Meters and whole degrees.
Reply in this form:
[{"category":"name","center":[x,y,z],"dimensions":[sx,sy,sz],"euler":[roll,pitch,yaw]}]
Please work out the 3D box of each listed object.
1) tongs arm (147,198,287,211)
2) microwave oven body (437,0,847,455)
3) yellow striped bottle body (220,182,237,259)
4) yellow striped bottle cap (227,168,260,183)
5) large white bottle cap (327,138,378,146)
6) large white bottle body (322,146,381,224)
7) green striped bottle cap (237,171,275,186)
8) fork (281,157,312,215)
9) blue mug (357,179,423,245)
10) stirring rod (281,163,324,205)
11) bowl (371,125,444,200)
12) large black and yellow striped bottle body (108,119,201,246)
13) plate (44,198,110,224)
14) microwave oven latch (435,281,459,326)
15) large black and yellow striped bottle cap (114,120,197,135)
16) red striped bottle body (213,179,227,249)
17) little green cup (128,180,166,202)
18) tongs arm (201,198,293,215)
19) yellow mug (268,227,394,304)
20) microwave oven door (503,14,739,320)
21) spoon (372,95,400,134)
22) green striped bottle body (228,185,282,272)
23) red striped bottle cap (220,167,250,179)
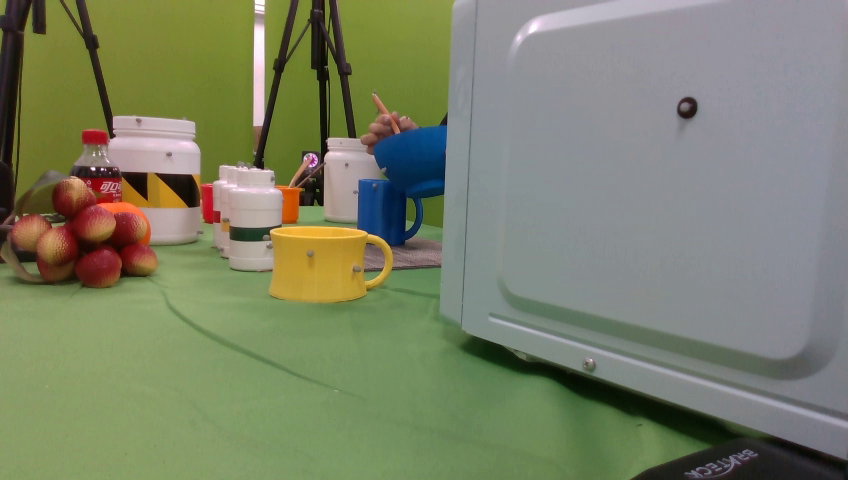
[{"category":"tongs arm","center":[-0.504,-0.091,1.513],"dimensions":[0.028,0.028,0.389],"euler":[0,4,37]},{"category":"microwave oven body","center":[0.279,-0.040,0.464],"dimensions":[0.444,0.260,0.324],"euler":[-3,9,-41]},{"category":"yellow striped bottle body","center":[-0.246,-0.036,0.825],"dimensions":[0.063,0.120,0.063],"euler":[3,8,0]},{"category":"yellow striped bottle cap","center":[-0.243,-0.087,0.818],"dimensions":[0.044,0.018,0.044],"euler":[4,6,0]},{"category":"large white bottle cap","center":[-0.160,-0.218,1.357],"dimensions":[0.115,0.018,0.115],"euler":[2,8,0]},{"category":"large white bottle body","center":[-0.163,-0.135,1.368],"dimensions":[0.131,0.184,0.130],"euler":[2,7,0]},{"category":"green striped bottle cap","center":[-0.205,-0.075,0.737],"dimensions":[0.044,0.020,0.044],"euler":[1,7,0]},{"category":"fork","center":[-0.289,-0.116,1.321],"dimensions":[0.028,0.019,0.207],"euler":[6,51,19]},{"category":"blue mug","center":[-0.056,-0.047,1.006],"dimensions":[0.116,0.106,0.082],"euler":[5,8,21]},{"category":"stirring rod","center":[-0.278,-0.105,1.293],"dimensions":[0.176,0.006,0.014],"euler":[-47,24,-18]},{"category":"bowl","center":[0.003,-0.105,0.879],"dimensions":[0.151,0.076,0.151],"euler":[-10,-7,-1]},{"category":"large black and yellow striped bottle body","center":[-0.412,-0.088,0.930],"dimensions":[0.131,0.184,0.130],"euler":[3,7,0]},{"category":"plate","center":[-0.617,-0.056,1.179],"dimensions":[0.209,0.038,0.209],"euler":[3,7,0]},{"category":"microwave oven latch","center":[0.044,0.045,0.470],"dimensions":[0.079,0.029,0.030],"euler":[-3,8,-40]},{"category":"large black and yellow striped bottle cap","center":[-0.407,-0.171,0.920],"dimensions":[0.115,0.019,0.115],"euler":[2,9,0]},{"category":"red striped bottle body","center":[-0.284,-0.048,0.909],"dimensions":[0.063,0.119,0.063],"euler":[3,10,0]},{"category":"little green cup","center":[-0.485,-0.087,1.062],"dimensions":[0.061,0.038,0.061],"euler":[-1,6,0]},{"category":"tongs arm","center":[-0.423,-0.084,1.472],"dimensions":[0.050,0.026,0.386],"euler":[2,6,21]},{"category":"yellow mug","center":[-0.094,0.023,0.629],"dimensions":[0.131,0.064,0.099],"euler":[0,7,-22]},{"category":"microwave oven door","center":[0.218,-0.065,0.600],"dimensions":[0.358,0.243,0.039],"euler":[-4,10,-41]},{"category":"spoon","center":[-0.043,-0.163,0.927],"dimensions":[0.022,0.042,0.193],"euler":[-18,54,-9]},{"category":"green striped bottle body","center":[-0.208,-0.023,0.745],"dimensions":[0.063,0.119,0.063],"euler":[3,7,0]},{"category":"red striped bottle cap","center":[-0.281,-0.100,0.901],"dimensions":[0.044,0.017,0.044],"euler":[-1,5,0]}]
